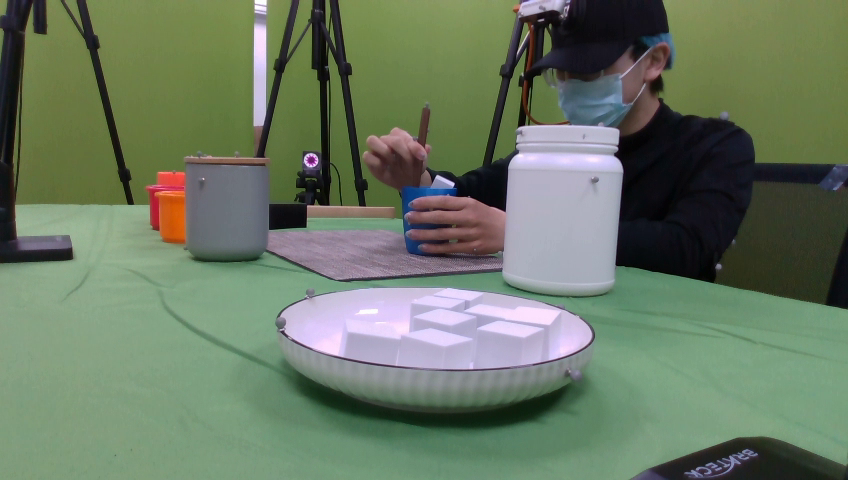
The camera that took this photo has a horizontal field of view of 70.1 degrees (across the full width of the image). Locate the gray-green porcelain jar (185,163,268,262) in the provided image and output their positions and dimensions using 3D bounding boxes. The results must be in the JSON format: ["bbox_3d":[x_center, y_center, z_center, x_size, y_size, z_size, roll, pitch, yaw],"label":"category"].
[{"bbox_3d":[-0.263,-0.038,0.808,0.106,0.126,0.106,3,8,0],"label":"gray-green porcelain jar"}]

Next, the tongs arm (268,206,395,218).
[{"bbox_3d":[-0.230,-0.064,1.379,0.387,0.026,0.050,-1,2,-31],"label":"tongs arm"}]

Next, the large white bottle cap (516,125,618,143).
[{"bbox_3d":[0.163,-0.120,0.695,0.115,0.018,0.115,2,8,0],"label":"large white bottle cap"}]

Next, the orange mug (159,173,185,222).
[{"bbox_3d":[-0.477,-0.089,1.241,0.127,0.101,0.083,-7,11,-33],"label":"orange mug"}]

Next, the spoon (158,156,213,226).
[{"bbox_3d":[-0.435,-0.094,1.121,0.041,0.022,0.193,5,51,14],"label":"spoon"}]

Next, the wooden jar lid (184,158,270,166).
[{"bbox_3d":[-0.260,-0.099,0.801,0.108,0.020,0.108,0,9,0],"label":"wooden jar lid"}]

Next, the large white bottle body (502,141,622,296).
[{"bbox_3d":[0.161,-0.037,0.706,0.131,0.184,0.130,2,7,0],"label":"large white bottle body"}]

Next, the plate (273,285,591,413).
[{"bbox_3d":[0.005,0.069,0.407,0.208,0.039,0.207,2,7,0],"label":"plate"}]

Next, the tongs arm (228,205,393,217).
[{"bbox_3d":[-0.267,-0.069,1.453,0.389,0.027,0.028,0,-2,-18],"label":"tongs arm"}]

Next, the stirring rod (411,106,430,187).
[{"bbox_3d":[-0.010,-0.109,0.894,0.014,0.176,0.006,16,14,32],"label":"stirring rod"}]

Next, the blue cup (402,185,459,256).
[{"bbox_3d":[0.007,-0.030,0.911,0.093,0.100,0.092,4,9,0],"label":"blue cup"}]
